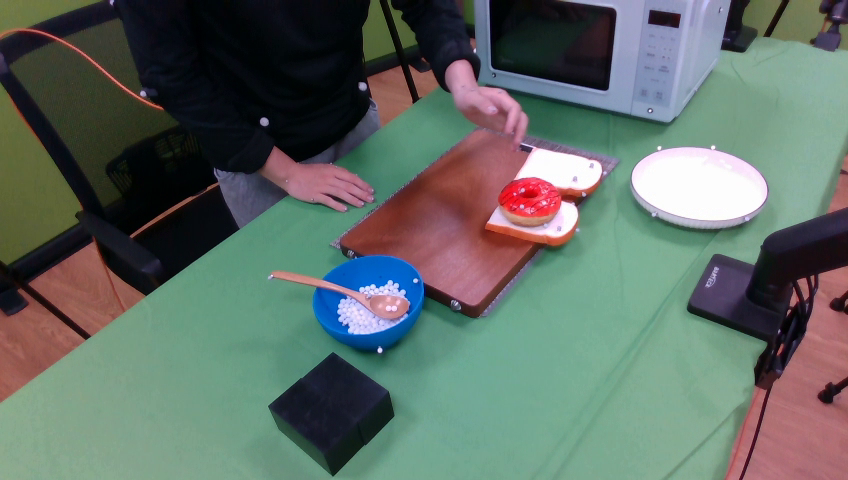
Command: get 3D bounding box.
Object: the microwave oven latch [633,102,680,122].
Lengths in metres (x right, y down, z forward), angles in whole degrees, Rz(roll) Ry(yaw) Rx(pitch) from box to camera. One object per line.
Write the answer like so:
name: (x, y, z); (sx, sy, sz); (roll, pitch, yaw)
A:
microwave oven latch: (0.444, -0.249, 1.158); (0.078, 0.029, 0.030); (22, 49, 30)

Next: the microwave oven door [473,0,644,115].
microwave oven door: (0.257, -0.396, 1.199); (0.353, 0.245, 0.039); (21, 48, 29)

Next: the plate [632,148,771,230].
plate: (0.447, -0.081, 0.988); (0.207, 0.039, 0.206); (-4, 40, 4)

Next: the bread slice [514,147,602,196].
bread slice: (0.233, -0.115, 1.027); (0.133, 0.018, 0.107); (13, 45, 20)

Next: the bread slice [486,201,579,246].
bread slice: (0.176, -0.038, 0.946); (0.131, 0.019, 0.105); (16, 47, 23)

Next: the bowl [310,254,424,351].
bowl: (-0.071, 0.098, 0.821); (0.151, 0.077, 0.150); (-4, 40, 4)

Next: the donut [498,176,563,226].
donut: (0.164, -0.059, 0.928); (0.099, 0.048, 0.098); (-4, 40, 4)

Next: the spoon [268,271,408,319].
spoon: (-0.116, 0.069, 0.813); (0.194, 0.021, 0.041); (18, 39, 1)

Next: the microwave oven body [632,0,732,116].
microwave oven body: (0.377, -0.463, 1.267); (0.438, 0.261, 0.327); (21, 49, 30)
